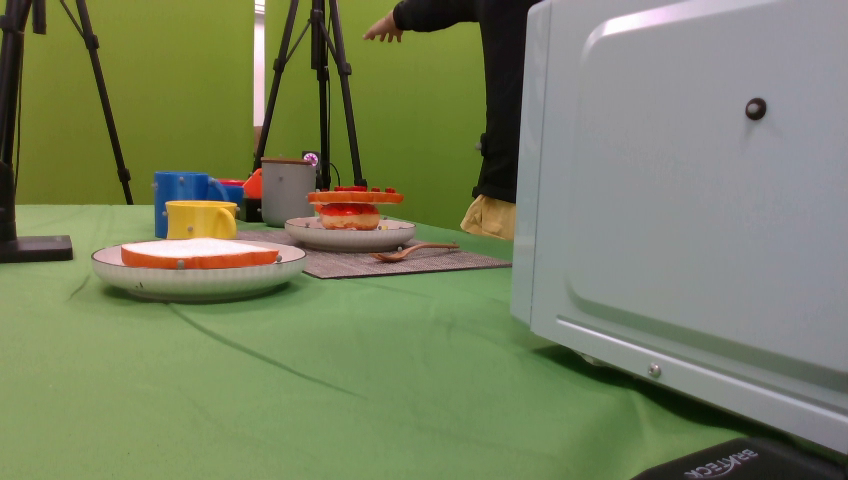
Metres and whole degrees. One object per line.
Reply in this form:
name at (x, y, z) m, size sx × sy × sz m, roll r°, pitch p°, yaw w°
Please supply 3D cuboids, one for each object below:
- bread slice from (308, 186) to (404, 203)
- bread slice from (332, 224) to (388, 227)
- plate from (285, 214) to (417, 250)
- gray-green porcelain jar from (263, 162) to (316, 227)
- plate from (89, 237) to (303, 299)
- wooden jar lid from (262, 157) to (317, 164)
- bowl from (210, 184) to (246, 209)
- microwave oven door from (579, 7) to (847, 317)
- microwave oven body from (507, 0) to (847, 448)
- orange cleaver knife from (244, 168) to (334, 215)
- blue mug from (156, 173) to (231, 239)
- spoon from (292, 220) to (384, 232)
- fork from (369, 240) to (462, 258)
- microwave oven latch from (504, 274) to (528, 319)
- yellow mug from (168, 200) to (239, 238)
bread slice at (-0.114, -0.071, 0.952) m, size 0.134 × 0.018 × 0.107 m, roll -2°, pitch 0°, yaw 21°
bread slice at (-0.103, -0.010, 0.961) m, size 0.131 × 0.019 × 0.105 m, roll 4°, pitch 9°, yaw 24°
plate at (-0.116, -0.014, 0.964) m, size 0.209 × 0.038 × 0.209 m, roll 2°, pitch 8°, yaw 0°
gray-green porcelain jar at (-0.271, -0.092, 1.217) m, size 0.106 × 0.126 × 0.106 m, roll 2°, pitch 7°, yaw 0°
plate at (-0.233, 0.029, 0.637) m, size 0.208 × 0.039 × 0.207 m, roll 2°, pitch 7°, yaw 0°
wooden jar lid at (-0.269, -0.154, 1.208) m, size 0.108 × 0.020 × 0.108 m, roll 3°, pitch 5°, yaw 0°
bowl at (-0.422, -0.067, 1.166) m, size 0.151 × 0.077 × 0.151 m, roll 2°, pitch 7°, yaw 0°
microwave oven door at (0.294, -0.067, 0.570) m, size 0.358 × 0.243 × 0.039 m, roll -3°, pitch 9°, yaw -31°
microwave oven body at (0.331, -0.042, 0.425) m, size 0.444 × 0.260 × 0.324 m, roll -2°, pitch 8°, yaw -31°
orange cleaver knife at (-0.300, -0.089, 1.352) m, size 0.212 × 0.077 × 0.012 m, roll 28°, pitch -6°, yaw -34°
blue mug at (-0.381, -0.057, 1.004) m, size 0.117 × 0.106 × 0.082 m, roll 0°, pitch 8°, yaw -12°
spoon at (-0.153, -0.028, 1.123) m, size 0.195 × 0.021 × 0.041 m, roll -5°, pitch -12°, yaw -39°
fork at (-0.005, 0.011, 0.874) m, size 0.028 × 0.018 × 0.208 m, roll 0°, pitch 7°, yaw 37°
microwave oven latch at (0.100, 0.041, 0.470) m, size 0.079 × 0.029 × 0.030 m, roll -1°, pitch 7°, yaw -27°
yellow mug at (-0.320, -0.023, 0.904) m, size 0.130 × 0.064 × 0.100 m, roll 9°, pitch 11°, yaw 36°
